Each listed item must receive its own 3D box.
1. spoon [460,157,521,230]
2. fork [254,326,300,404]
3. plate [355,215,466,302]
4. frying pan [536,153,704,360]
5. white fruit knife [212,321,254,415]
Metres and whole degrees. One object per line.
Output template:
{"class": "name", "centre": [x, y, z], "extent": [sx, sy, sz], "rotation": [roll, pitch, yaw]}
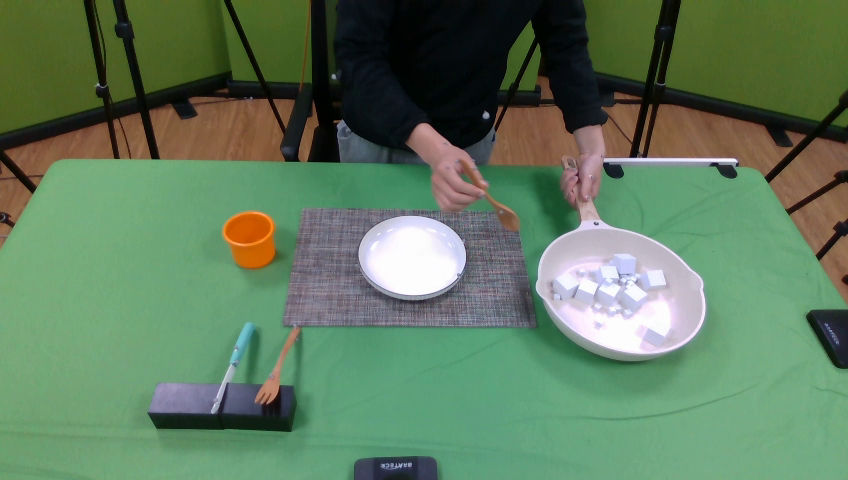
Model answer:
{"class": "spoon", "centre": [0.109, -0.072, 0.987], "extent": [0.041, 0.195, 0.021], "rotation": [10, 68, 40]}
{"class": "fork", "centre": [-0.226, 0.192, 0.955], "extent": [0.028, 0.019, 0.206], "rotation": [-1, 27, 4]}
{"class": "plate", "centre": [-0.025, 0.038, 1.143], "extent": [0.208, 0.039, 0.206], "rotation": [3, 46, -3]}
{"class": "frying pan", "centre": [0.335, 0.013, 1.154], "extent": [0.307, 0.103, 0.484], "rotation": [-2, 55, -7]}
{"class": "white fruit knife", "centre": [-0.298, 0.193, 0.947], "extent": [0.016, 0.027, 0.206], "rotation": [1, 31, 0]}
